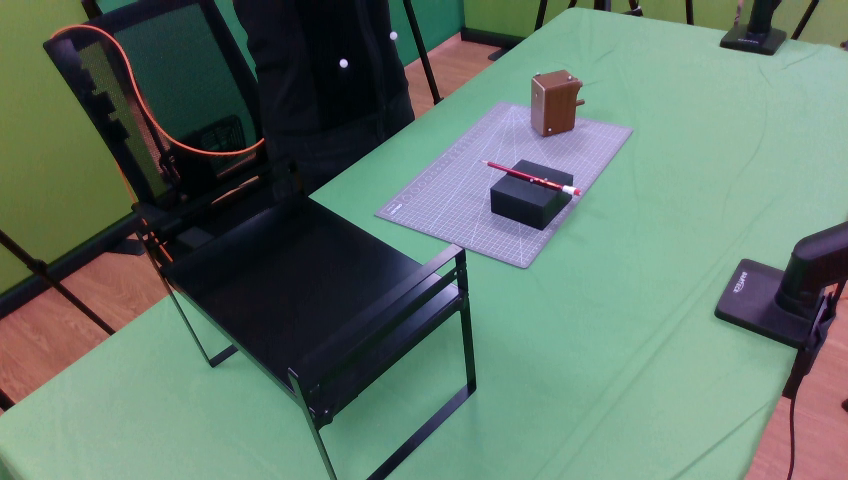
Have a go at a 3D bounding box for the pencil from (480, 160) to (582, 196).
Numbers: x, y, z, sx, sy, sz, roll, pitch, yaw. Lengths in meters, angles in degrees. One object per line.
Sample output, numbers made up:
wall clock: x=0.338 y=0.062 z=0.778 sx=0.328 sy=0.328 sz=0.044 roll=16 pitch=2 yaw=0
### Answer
pencil: x=0.173 y=-0.106 z=1.003 sx=0.192 sy=0.012 sz=0.012 roll=23 pitch=49 yaw=31

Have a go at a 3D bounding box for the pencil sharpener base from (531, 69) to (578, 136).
pencil sharpener base: x=0.256 y=-0.268 z=1.179 sx=0.077 sy=0.107 sz=0.061 roll=-15 pitch=41 yaw=-9

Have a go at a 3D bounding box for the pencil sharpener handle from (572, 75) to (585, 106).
pencil sharpener handle: x=0.303 y=-0.292 z=1.181 sx=0.031 sy=0.068 sz=0.035 roll=-15 pitch=49 yaw=-9
